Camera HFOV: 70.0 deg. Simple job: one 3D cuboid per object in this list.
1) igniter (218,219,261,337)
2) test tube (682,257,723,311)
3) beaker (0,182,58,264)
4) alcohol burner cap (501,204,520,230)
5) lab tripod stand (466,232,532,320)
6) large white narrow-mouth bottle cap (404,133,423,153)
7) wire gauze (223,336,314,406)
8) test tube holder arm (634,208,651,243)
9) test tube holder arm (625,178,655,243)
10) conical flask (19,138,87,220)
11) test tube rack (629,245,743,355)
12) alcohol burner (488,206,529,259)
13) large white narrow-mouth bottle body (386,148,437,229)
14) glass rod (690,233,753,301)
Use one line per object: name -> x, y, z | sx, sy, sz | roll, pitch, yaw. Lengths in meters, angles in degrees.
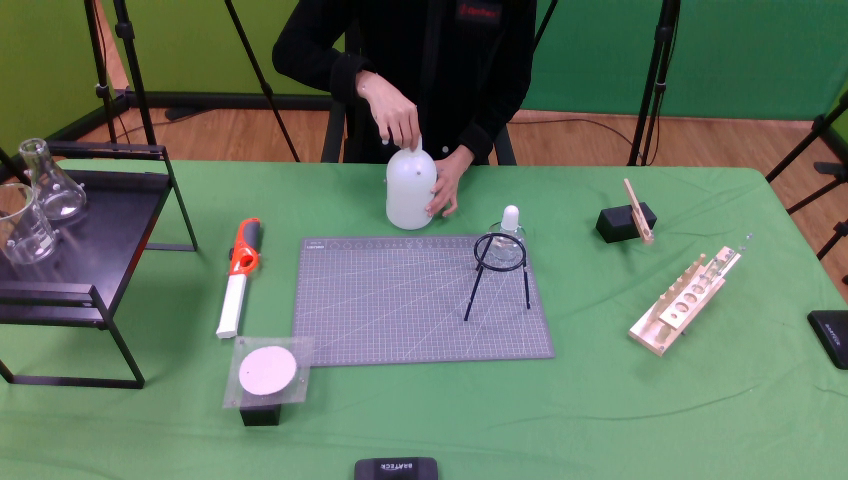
igniter -> -0.336, 0.060, 1.111 | 0.057, 0.025, 0.274 | -8, 46, 3
test tube -> 0.475, 0.080, 1.037 | 0.017, 0.151, 0.017 | 1, 51, -1
beaker -> -0.582, -0.019, 0.870 | 0.074, 0.101, 0.083 | 5, 46, 1
alcohol burner cap -> 0.164, -0.046, 1.133 | 0.034, 0.048, 0.033 | 2, 40, -2
lab tripod stand -> 0.125, 0.059, 1.065 | 0.148, 0.132, 0.147 | 1, 45, 0
large white narrow-mouth bottle cap -> -0.019, -0.180, 1.124 | 0.038, 0.024, 0.037 | 3, 46, -2
wire gauze -> -0.237, 0.197, 0.931 | 0.121, 0.011, 0.124 | 1, 45, -4
test tube holder arm -> 0.428, -0.030, 1.189 | 0.010, 0.015, 0.087 | 1, 47, -2
test tube holder arm -> 0.433, -0.062, 1.220 | 0.013, 0.015, 0.177 | 1, 47, -3
conical flask -> -0.576, -0.097, 0.930 | 0.075, 0.122, 0.075 | 2, 46, -2
test tube rack -> 0.474, 0.095, 1.091 | 0.242, 0.085, 0.066 | -34, 56, -31
alcohol burner -> 0.163, -0.020, 1.158 | 0.078, 0.120, 0.077 | 0, 47, 0
large white narrow-mouth bottle body -> -0.024, -0.119, 1.190 | 0.102, 0.195, 0.101 | 2, 46, -2
glass rod -> 0.507, 0.053, 1.041 | 0.008, 0.200, 0.008 | 5, 51, -6
